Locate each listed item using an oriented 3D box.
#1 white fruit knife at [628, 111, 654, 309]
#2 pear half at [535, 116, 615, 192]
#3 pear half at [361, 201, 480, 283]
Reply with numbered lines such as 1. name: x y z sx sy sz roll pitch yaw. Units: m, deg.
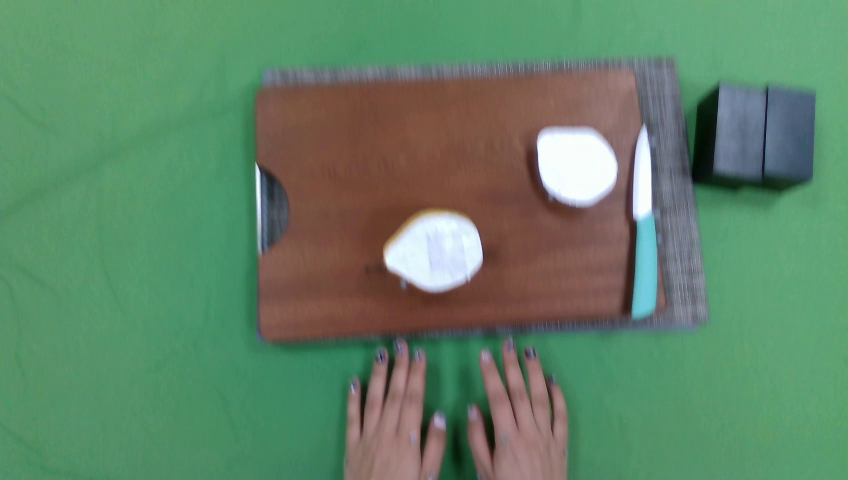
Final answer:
1. white fruit knife: 0.217 -0.033 0.605 0.027 0.016 0.206 8 78 -16
2. pear half: 0.147 -0.086 0.601 0.070 0.031 0.087 -44 72 8
3. pear half: -0.007 0.003 0.571 0.110 0.055 0.076 -11 100 -6
